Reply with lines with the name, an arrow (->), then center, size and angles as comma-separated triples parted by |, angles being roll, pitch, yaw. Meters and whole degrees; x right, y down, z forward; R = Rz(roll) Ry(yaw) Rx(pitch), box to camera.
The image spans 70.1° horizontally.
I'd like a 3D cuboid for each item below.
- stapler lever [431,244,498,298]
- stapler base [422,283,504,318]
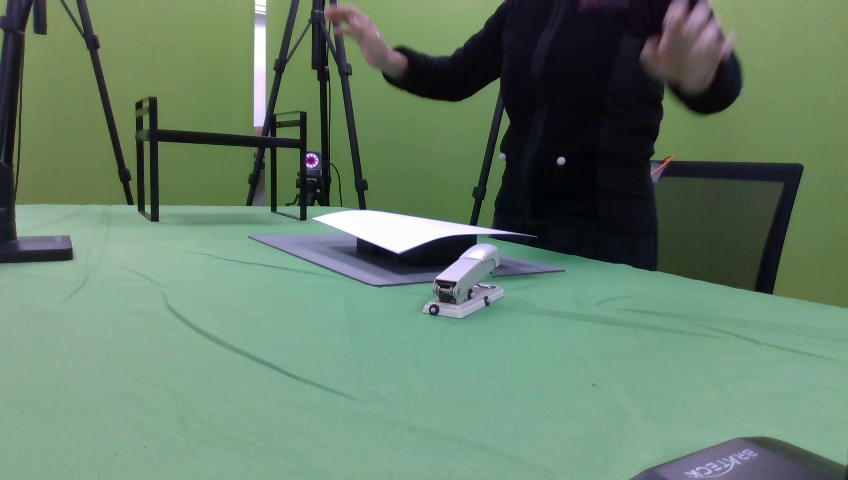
stapler lever -> 0.043, 0.029, 0.602 | 0.026, 0.040, 0.118 | 2, 7, 26
stapler base -> 0.043, 0.053, 0.606 | 0.041, 0.024, 0.131 | 2, 8, 26
